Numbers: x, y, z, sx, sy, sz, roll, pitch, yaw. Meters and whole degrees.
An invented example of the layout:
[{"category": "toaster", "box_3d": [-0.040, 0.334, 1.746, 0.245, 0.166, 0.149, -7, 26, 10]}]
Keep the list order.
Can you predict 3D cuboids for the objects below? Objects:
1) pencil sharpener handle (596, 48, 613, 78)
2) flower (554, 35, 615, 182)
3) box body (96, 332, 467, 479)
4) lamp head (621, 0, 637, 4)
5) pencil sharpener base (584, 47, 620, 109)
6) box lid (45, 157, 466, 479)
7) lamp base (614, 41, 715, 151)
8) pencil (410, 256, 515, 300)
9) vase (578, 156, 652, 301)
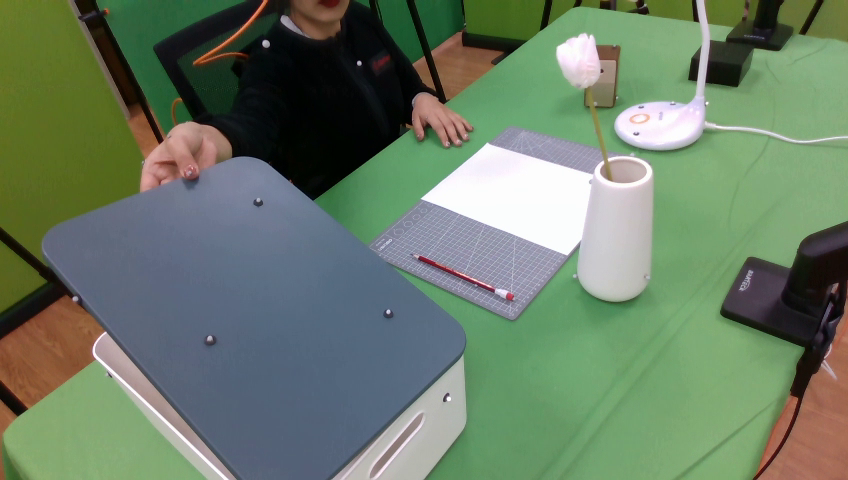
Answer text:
[{"category": "pencil sharpener handle", "box_3d": [0.383, -0.378, 1.276, 0.036, 0.068, 0.030, 3, 41, 22]}, {"category": "flower", "box_3d": [0.237, -0.083, 0.774, 0.044, 0.363, 0.038, -22, 26, 7]}, {"category": "box body", "box_3d": [-0.155, 0.169, 0.707, 0.361, 0.161, 0.255, 23, 49, 33]}, {"category": "lamp head", "box_3d": [0.319, -0.453, 0.962, 0.113, 0.123, 0.112, 20, 33, -13]}, {"category": "pencil sharpener base", "box_3d": [0.367, -0.336, 1.248, 0.061, 0.107, 0.076, 6, 42, 19]}, {"category": "box lid", "box_3d": [-0.163, 0.053, 0.611, 0.369, 0.015, 0.264, 39, 46, 19]}, {"category": "lamp base", "box_3d": [0.449, -0.277, 1.106, 0.179, 0.181, 0.160, 1, 41, 9]}, {"category": "pencil", "box_3d": [0.054, 0.054, 0.918, 0.192, 0.012, 0.012, 21, 48, 33]}, {"category": "vase", "box_3d": [0.261, -0.011, 0.812, 0.098, 0.201, 0.097, -4, 40, 4]}]
